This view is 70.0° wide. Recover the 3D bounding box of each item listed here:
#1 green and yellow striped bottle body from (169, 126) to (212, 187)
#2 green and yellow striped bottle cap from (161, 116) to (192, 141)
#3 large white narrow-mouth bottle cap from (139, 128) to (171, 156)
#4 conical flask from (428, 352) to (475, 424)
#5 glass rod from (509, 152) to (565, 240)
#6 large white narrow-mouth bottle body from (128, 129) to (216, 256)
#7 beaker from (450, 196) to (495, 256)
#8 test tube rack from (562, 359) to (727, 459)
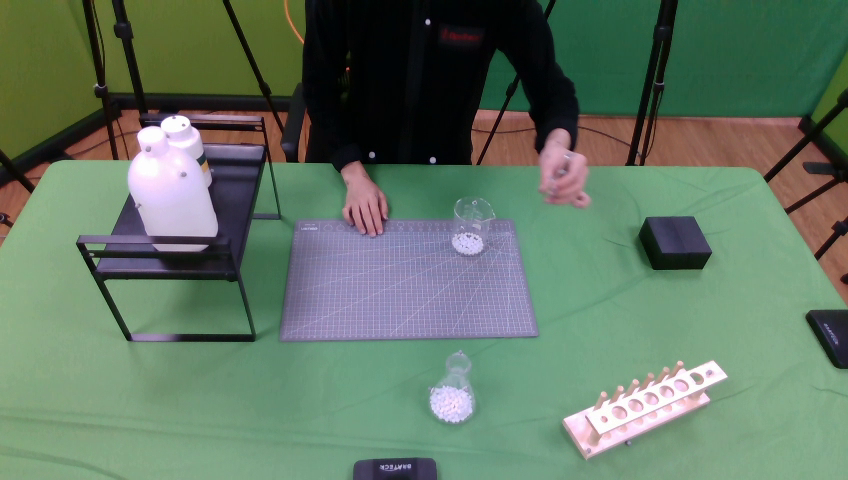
[{"bbox_3d":[-0.389,-0.139,0.984,0.063,0.120,0.063,2,46,-2],"label":"green and yellow striped bottle body"},{"bbox_3d":[-0.387,-0.174,0.946,0.045,0.020,0.045,3,44,-3],"label":"green and yellow striped bottle cap"},{"bbox_3d":[-0.358,-0.131,0.808,0.038,0.024,0.037,3,47,-3],"label":"large white narrow-mouth bottle cap"},{"bbox_3d":[0.046,0.220,0.920,0.075,0.122,0.075,2,46,-2],"label":"conical flask"},{"bbox_3d":[0.170,-0.062,0.927,0.008,0.200,0.008,10,50,-12],"label":"glass rod"},{"bbox_3d":[-0.366,-0.073,0.872,0.102,0.195,0.101,3,47,-3],"label":"large white narrow-mouth bottle body"},{"bbox_3d":[0.092,-0.024,1.170,0.084,0.101,0.073,15,47,10],"label":"beaker"},{"bbox_3d":[0.341,0.247,0.940,0.243,0.085,0.066,-16,49,-18],"label":"test tube rack"}]
